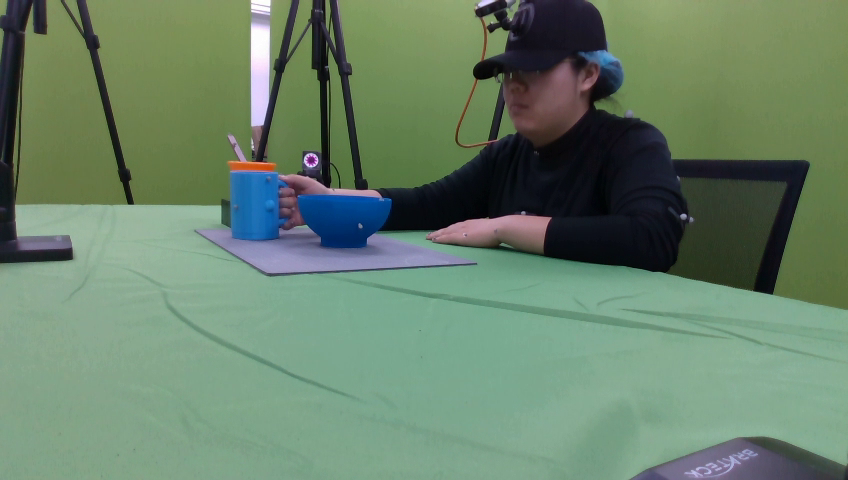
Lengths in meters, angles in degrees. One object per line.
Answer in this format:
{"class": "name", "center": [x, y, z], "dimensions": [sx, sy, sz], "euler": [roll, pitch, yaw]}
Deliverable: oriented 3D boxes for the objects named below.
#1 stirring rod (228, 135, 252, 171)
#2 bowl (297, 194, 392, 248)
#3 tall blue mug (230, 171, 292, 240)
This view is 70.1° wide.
{"class": "stirring rod", "center": [-0.353, -0.147, 1.197], "dimensions": [0.014, 0.006, 0.175], "euler": [-5, 53, -45]}
{"class": "bowl", "center": [-0.127, -0.030, 0.964], "dimensions": [0.151, 0.077, 0.151], "euler": [2, 7, 0]}
{"class": "tall blue mug", "center": [-0.276, -0.061, 1.014], "dimensions": [0.078, 0.108, 0.107], "euler": [2, 9, 8]}
